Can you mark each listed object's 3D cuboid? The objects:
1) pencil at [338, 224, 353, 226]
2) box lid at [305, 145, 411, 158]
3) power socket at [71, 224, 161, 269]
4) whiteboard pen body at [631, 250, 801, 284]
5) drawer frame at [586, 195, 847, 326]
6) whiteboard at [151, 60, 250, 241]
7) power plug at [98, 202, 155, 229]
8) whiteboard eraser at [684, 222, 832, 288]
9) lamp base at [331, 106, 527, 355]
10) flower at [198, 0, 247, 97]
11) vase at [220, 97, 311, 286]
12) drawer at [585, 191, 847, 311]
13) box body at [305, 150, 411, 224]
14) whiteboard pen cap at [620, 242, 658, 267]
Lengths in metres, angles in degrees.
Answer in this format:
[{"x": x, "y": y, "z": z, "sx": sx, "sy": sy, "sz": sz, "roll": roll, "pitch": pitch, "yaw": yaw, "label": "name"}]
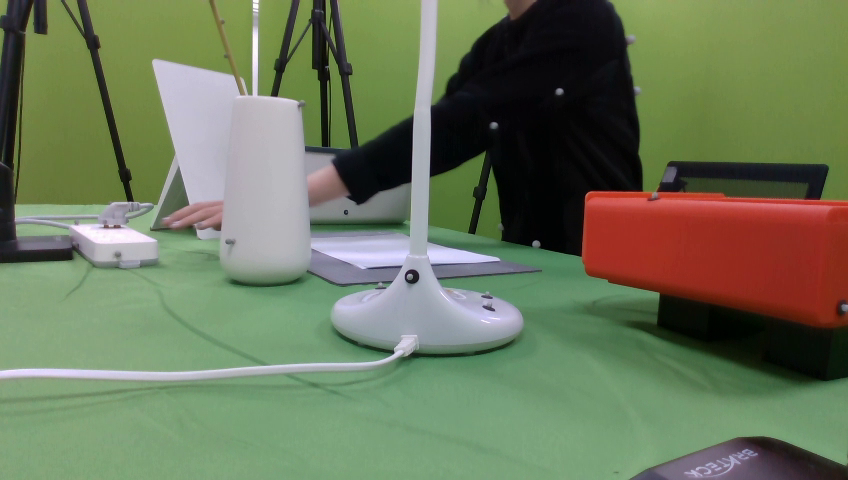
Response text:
[{"x": -0.247, "y": -0.046, "z": 1.338, "sx": 0.195, "sy": 0.012, "sz": 0.012, "roll": 8, "pitch": 4, "yaw": -28, "label": "pencil"}, {"x": -0.232, "y": -0.200, "z": 1.363, "sx": 0.373, "sy": 0.015, "sz": 0.262, "roll": 0, "pitch": 7, "yaw": -29, "label": "box lid"}, {"x": -0.408, "y": 0.004, "z": 0.793, "sx": 0.072, "sy": 0.032, "sz": 0.225, "roll": -2, "pitch": 8, "yaw": -38, "label": "power socket"}, {"x": 0.240, "y": 0.020, "z": 0.512, "sx": 0.017, "sy": 0.017, "sz": 0.140, "roll": -4, "pitch": 8, "yaw": -41, "label": "whiteboard pen body"}, {"x": 0.284, "y": 0.004, "z": 0.508, "sx": 0.203, "sy": 0.082, "sz": 0.212, "roll": -1, "pitch": 6, "yaw": -28, "label": "drawer frame"}, {"x": -0.408, "y": -0.139, "z": 1.093, "sx": 0.143, "sy": 0.305, "sz": 0.218, "roll": -15, "pitch": 0, "yaw": 25, "label": "whiteboard"}, {"x": -0.416, "y": -0.027, "z": 0.848, "sx": 0.073, "sy": 0.052, "sz": 0.035, "roll": 0, "pitch": 8, "yaw": -28, "label": "power plug"}, {"x": 0.305, "y": 0.013, "z": 0.558, "sx": 0.056, "sy": 0.042, "sz": 0.112, "roll": -10, "pitch": 20, "yaw": -30, "label": "whiteboard eraser"}, {"x": 0.006, "y": -0.012, "z": 0.478, "sx": 0.161, "sy": 0.180, "sz": 0.179, "roll": 2, "pitch": 10, "yaw": 2, "label": "lamp base"}, {"x": -0.187, "y": -0.133, "z": 0.648, "sx": 0.038, "sy": 0.362, "sz": 0.044, "roll": 0, "pitch": 22, "yaw": 43, "label": "flower"}, {"x": -0.172, "y": -0.052, "z": 0.662, "sx": 0.098, "sy": 0.200, "sz": 0.098, "roll": 3, "pitch": 8, "yaw": 0, "label": "vase"}, {"x": 0.280, "y": 0.001, "z": 0.513, "sx": 0.195, "sy": 0.073, "sz": 0.211, "roll": -1, "pitch": 8, "yaw": -28, "label": "drawer"}, {"x": -0.233, "y": -0.127, "z": 1.373, "sx": 0.366, "sy": 0.160, "sz": 0.253, "roll": -2, "pitch": 8, "yaw": -29, "label": "box body"}, {"x": 0.199, "y": 0.014, "z": 0.556, "sx": 0.018, "sy": 0.018, "sz": 0.033, "roll": -4, "pitch": 16, "yaw": -38, "label": "whiteboard pen cap"}]
